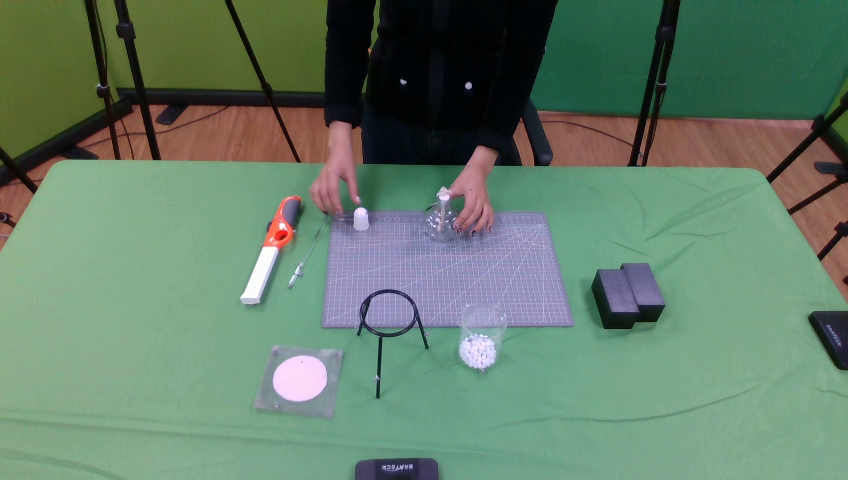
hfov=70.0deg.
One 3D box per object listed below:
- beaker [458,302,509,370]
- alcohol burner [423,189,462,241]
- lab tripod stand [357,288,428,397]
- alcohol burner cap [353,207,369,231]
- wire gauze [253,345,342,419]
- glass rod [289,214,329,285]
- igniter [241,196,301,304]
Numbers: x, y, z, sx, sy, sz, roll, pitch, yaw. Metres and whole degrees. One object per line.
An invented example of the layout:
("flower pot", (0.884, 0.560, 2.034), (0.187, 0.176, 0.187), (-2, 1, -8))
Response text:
("beaker", (0.092, 0.159, 0.999), (0.083, 0.101, 0.074), (35, 53, 28))
("alcohol burner", (0.036, -0.055, 1.186), (0.078, 0.120, 0.077), (1, 48, -1))
("lab tripod stand", (-0.058, 0.155, 0.967), (0.148, 0.132, 0.147), (3, 47, -3))
("alcohol burner cap", (-0.127, -0.045, 1.215), (0.034, 0.048, 0.033), (2, 47, -2))
("wire gauze", (-0.200, 0.224, 0.979), (0.125, 0.011, 0.121), (7, 47, 0))
("glass rod", (-0.221, 0.014, 1.179), (0.008, 0.008, 0.199), (12, 46, 8))
("igniter", (-0.290, 0.010, 1.164), (0.057, 0.025, 0.275), (0, 45, 10))
